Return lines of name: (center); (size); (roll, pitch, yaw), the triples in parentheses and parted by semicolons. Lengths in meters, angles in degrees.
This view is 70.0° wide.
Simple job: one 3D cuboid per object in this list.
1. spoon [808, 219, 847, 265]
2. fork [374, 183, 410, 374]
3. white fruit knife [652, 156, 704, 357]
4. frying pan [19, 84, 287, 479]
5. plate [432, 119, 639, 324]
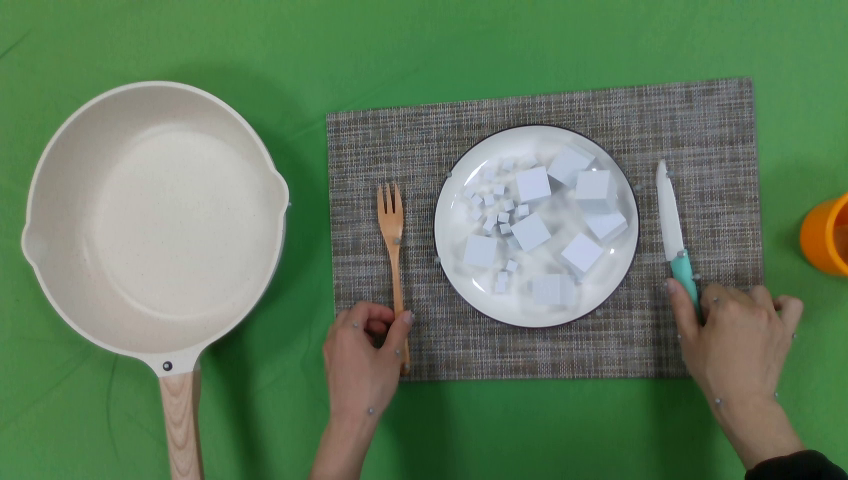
spoon: (0.436, -0.027, 0.532); (0.021, 0.194, 0.041); (-34, 86, -38)
fork: (-0.032, 0.042, 0.655); (0.028, 0.018, 0.207); (-6, 87, -10)
white fruit knife: (0.256, 0.016, 0.616); (0.016, 0.027, 0.207); (-8, 87, -34)
frying pan: (-0.270, 0.081, 0.648); (0.306, 0.103, 0.485); (-11, 79, 8)
plate: (0.112, -0.018, 0.628); (0.207, 0.039, 0.207); (0, 89, 8)
